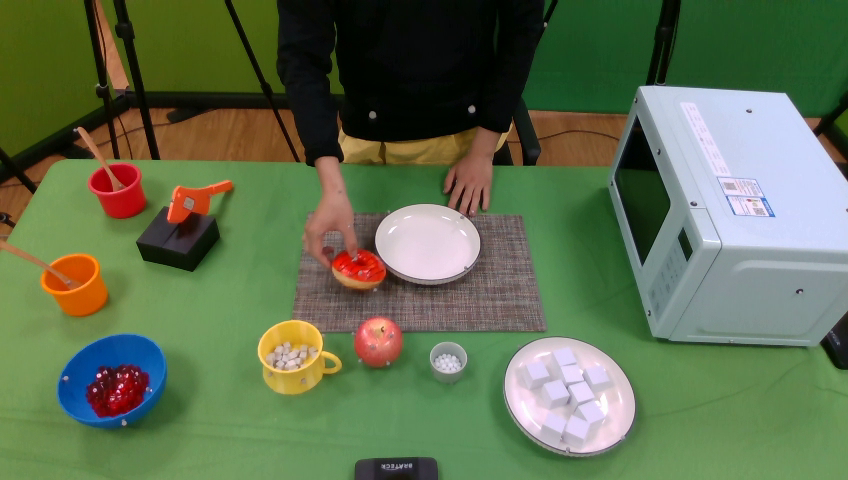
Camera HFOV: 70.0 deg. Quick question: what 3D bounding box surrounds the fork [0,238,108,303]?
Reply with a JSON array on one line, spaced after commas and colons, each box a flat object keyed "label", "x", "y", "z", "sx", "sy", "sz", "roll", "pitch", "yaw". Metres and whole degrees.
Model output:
[{"label": "fork", "x": -0.633, "y": 0.048, "z": 1.017, "sx": 0.208, "sy": 0.018, "sz": 0.028, "roll": 40, "pitch": 41, "yaw": -27}]

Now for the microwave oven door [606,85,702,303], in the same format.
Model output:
[{"label": "microwave oven door", "x": 0.423, "y": -0.094, "z": 1.140, "sx": 0.039, "sy": 0.245, "sz": 0.353, "roll": 2, "pitch": 46, "yaw": -1}]

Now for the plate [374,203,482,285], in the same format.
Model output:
[{"label": "plate", "x": 0.007, "y": 0.011, "z": 1.172, "sx": 0.209, "sy": 0.038, "sz": 0.208, "roll": 3, "pitch": 46, "yaw": -2}]

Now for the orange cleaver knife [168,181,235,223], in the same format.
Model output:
[{"label": "orange cleaver knife", "x": -0.436, "y": -0.078, "z": 1.196, "sx": 0.012, "sy": 0.077, "sz": 0.211, "roll": 16, "pitch": 15, "yaw": 10}]

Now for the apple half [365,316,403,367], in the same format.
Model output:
[{"label": "apple half", "x": -0.063, "y": 0.165, "z": 1.000, "sx": 0.053, "sy": 0.075, "sz": 0.080, "roll": -16, "pitch": 45, "yaw": -24}]

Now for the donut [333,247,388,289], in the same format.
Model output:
[{"label": "donut", "x": -0.114, "y": 0.050, "z": 1.075, "sx": 0.099, "sy": 0.048, "sz": 0.098, "roll": 12, "pitch": 30, "yaw": -7}]

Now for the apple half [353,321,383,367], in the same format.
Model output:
[{"label": "apple half", "x": -0.098, "y": 0.177, "z": 0.984, "sx": 0.033, "sy": 0.081, "sz": 0.081, "roll": -17, "pitch": 49, "yaw": -25}]

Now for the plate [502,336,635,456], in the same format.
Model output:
[{"label": "plate", "x": 0.225, "y": 0.248, "z": 0.963, "sx": 0.208, "sy": 0.039, "sz": 0.206, "roll": 2, "pitch": 46, "yaw": -2}]

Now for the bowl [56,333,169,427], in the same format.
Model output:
[{"label": "bowl", "x": -0.456, "y": 0.223, "z": 0.912, "sx": 0.151, "sy": 0.077, "sz": 0.150, "roll": 2, "pitch": 45, "yaw": -2}]

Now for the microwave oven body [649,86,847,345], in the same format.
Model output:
[{"label": "microwave oven body", "x": 0.567, "y": -0.053, "z": 1.118, "sx": 0.326, "sy": 0.261, "sz": 0.439, "roll": 2, "pitch": 45, "yaw": -1}]

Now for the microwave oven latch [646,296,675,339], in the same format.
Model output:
[{"label": "microwave oven latch", "x": 0.412, "y": 0.134, "z": 1.061, "sx": 0.030, "sy": 0.029, "sz": 0.078, "roll": 4, "pitch": 45, "yaw": 1}]

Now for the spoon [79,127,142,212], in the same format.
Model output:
[{"label": "spoon", "x": -0.624, "y": -0.140, "z": 1.203, "sx": 0.041, "sy": 0.021, "sz": 0.194, "roll": -33, "pitch": 100, "yaw": -26}]

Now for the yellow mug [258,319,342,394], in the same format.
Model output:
[{"label": "yellow mug", "x": -0.196, "y": 0.189, "z": 0.972, "sx": 0.131, "sy": 0.064, "sz": 0.099, "roll": 9, "pitch": 46, "yaw": 4}]

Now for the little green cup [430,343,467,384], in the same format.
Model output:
[{"label": "little green cup", "x": 0.039, "y": 0.203, "z": 0.994, "sx": 0.061, "sy": 0.039, "sz": 0.061, "roll": 2, "pitch": 46, "yaw": -2}]
